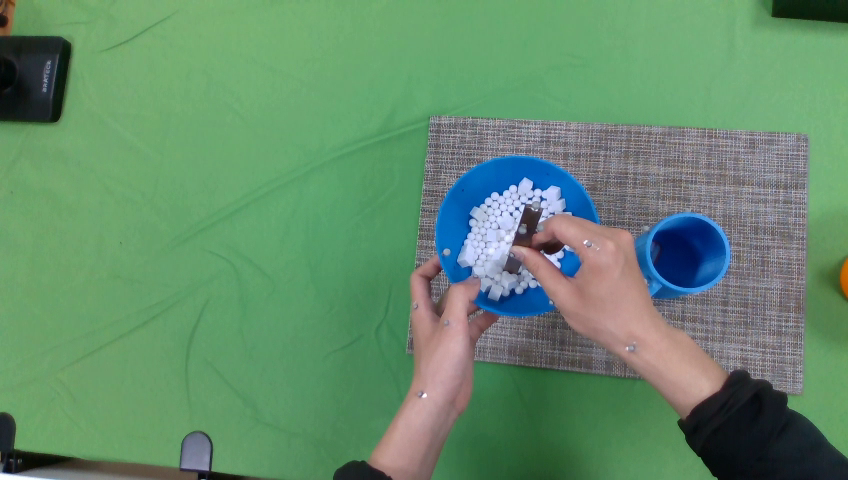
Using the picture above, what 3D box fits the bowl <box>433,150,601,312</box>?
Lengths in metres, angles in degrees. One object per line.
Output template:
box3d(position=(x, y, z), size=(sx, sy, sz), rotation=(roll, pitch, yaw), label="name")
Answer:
box3d(position=(0.085, -0.003, 0.580), size=(0.151, 0.077, 0.151), rotation=(0, 80, 2), label="bowl")

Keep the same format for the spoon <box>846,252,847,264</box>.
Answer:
box3d(position=(0.534, 0.037, 0.607), size=(0.022, 0.192, 0.041), rotation=(29, 85, -34), label="spoon")

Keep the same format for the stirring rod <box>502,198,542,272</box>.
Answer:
box3d(position=(0.080, 0.001, 0.508), size=(0.014, 0.177, 0.006), rotation=(14, 73, 7), label="stirring rod")

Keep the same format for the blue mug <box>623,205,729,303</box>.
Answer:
box3d(position=(0.259, 0.025, 0.660), size=(0.082, 0.106, 0.116), rotation=(43, 90, 11), label="blue mug")
